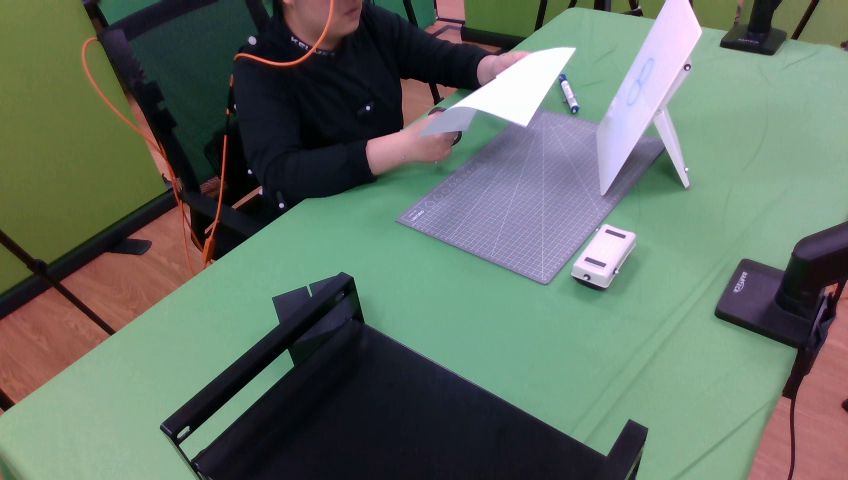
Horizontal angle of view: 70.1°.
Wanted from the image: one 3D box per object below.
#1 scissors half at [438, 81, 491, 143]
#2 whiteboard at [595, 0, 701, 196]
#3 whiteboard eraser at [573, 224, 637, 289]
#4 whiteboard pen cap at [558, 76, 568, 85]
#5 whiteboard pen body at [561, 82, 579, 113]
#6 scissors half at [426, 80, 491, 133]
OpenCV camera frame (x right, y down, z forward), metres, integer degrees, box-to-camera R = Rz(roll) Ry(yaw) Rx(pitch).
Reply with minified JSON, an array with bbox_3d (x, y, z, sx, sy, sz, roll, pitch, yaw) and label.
[{"bbox_3d":[0.075,-0.228,1.087,0.040,0.175,0.013,31,53,-8],"label":"scissors half"},{"bbox_3d":[0.421,-0.227,1.010,0.144,0.305,0.216,18,42,-2],"label":"whiteboard"},{"bbox_3d":[0.267,0.025,0.891,0.055,0.042,0.113,19,47,31],"label":"whiteboard eraser"},{"bbox_3d":[0.310,-0.350,1.341,0.018,0.018,0.033,-6,41,2],"label":"whiteboard pen cap"},{"bbox_3d":[0.311,-0.312,1.297,0.017,0.017,0.140,-6,41,3],"label":"whiteboard pen body"},{"bbox_3d":[0.060,-0.240,1.082,0.174,0.040,0.013,-26,25,46],"label":"scissors half"}]
